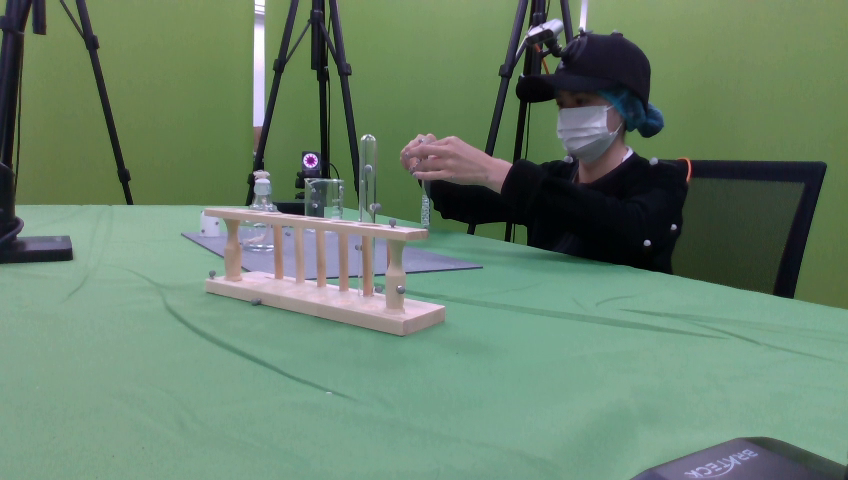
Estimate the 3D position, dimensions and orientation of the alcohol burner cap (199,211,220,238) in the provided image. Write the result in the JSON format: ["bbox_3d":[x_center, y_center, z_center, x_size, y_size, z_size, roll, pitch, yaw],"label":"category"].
[{"bbox_3d":[-0.356,-0.027,1.002,0.034,0.048,0.034,2,7,0],"label":"alcohol burner cap"}]

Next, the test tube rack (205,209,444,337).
[{"bbox_3d":[-0.100,0.021,0.565,0.241,0.085,0.067,7,9,32],"label":"test tube rack"}]

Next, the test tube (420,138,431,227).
[{"bbox_3d":[0.003,-0.096,1.018,0.017,0.150,0.017,1,6,0],"label":"test tube"}]

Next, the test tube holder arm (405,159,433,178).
[{"bbox_3d":[-0.007,-0.123,1.038,0.010,0.015,0.088,3,20,27],"label":"test tube holder arm"}]

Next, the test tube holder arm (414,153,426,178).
[{"bbox_3d":[-0.008,-0.136,1.081,0.013,0.015,0.178,-10,18,-2],"label":"test tube holder arm"}]

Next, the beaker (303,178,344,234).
[{"bbox_3d":[-0.189,-0.063,1.119,0.073,0.100,0.084,6,9,28],"label":"beaker"}]

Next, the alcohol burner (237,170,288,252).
[{"bbox_3d":[-0.236,-0.042,0.882,0.078,0.119,0.078,2,9,0],"label":"alcohol burner"}]

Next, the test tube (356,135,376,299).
[{"bbox_3d":[-0.053,-0.019,0.550,0.017,0.150,0.017,2,9,0],"label":"test tube"}]
